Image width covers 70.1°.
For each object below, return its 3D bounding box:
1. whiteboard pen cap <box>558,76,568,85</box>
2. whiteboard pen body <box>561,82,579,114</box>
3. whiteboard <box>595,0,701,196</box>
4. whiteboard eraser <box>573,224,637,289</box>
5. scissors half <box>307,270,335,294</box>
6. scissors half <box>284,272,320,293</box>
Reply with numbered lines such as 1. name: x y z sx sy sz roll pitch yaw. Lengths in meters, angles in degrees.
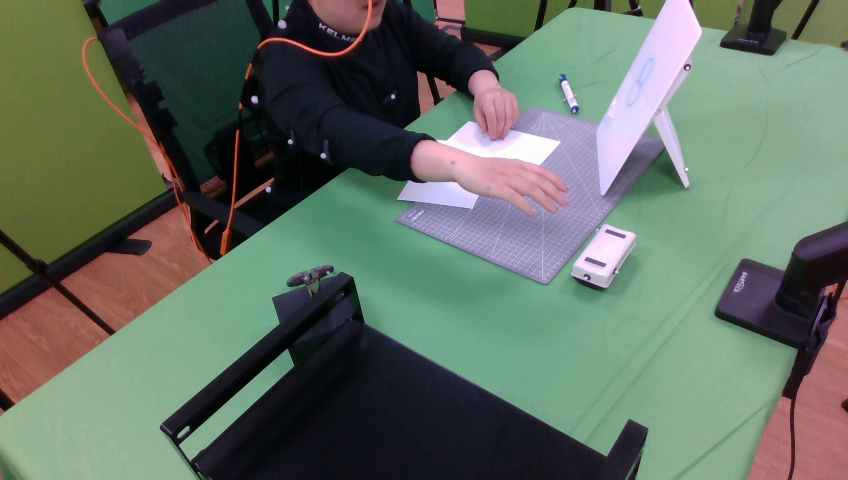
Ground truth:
1. whiteboard pen cap: 0.310 -0.350 1.341 0.018 0.018 0.033 -6 41 2
2. whiteboard pen body: 0.310 -0.311 1.298 0.017 0.017 0.140 -6 41 2
3. whiteboard: 0.421 -0.227 1.010 0.144 0.305 0.216 18 42 -2
4. whiteboard eraser: 0.268 0.025 0.891 0.055 0.042 0.113 19 48 31
5. scissors half: -0.151 0.060 0.873 0.040 0.013 0.175 -5 7 -4
6. scissors half: -0.171 0.063 0.868 0.040 0.013 0.174 -13 8 -22
